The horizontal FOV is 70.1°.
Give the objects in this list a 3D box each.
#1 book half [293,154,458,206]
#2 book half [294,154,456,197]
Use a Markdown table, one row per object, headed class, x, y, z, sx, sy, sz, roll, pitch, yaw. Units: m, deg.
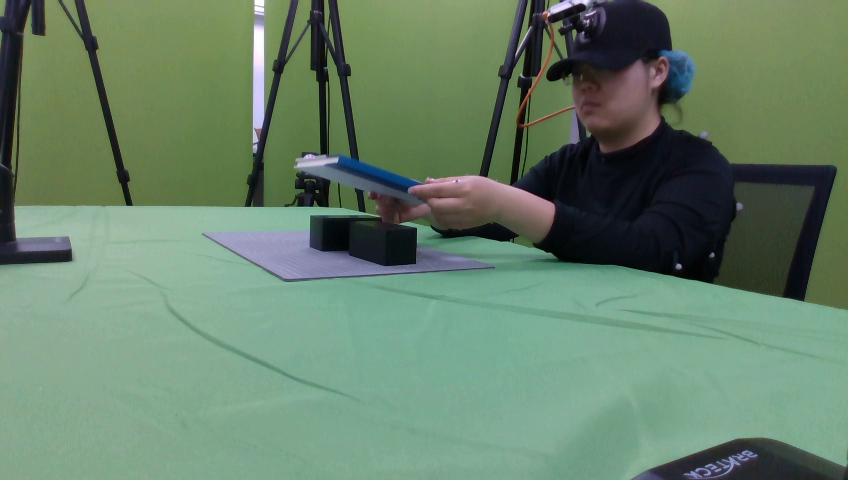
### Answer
| class | x | y | z | sx | sy | sz | roll | pitch | yaw |
| --- | --- | --- | --- | --- | --- | --- | --- | --- | --- |
| book half | -0.072 | -0.085 | 0.913 | 0.211 | 0.016 | 0.148 | 16 | -6 | -35 |
| book half | -0.073 | -0.093 | 0.916 | 0.211 | 0.007 | 0.142 | 15 | -6 | -35 |
